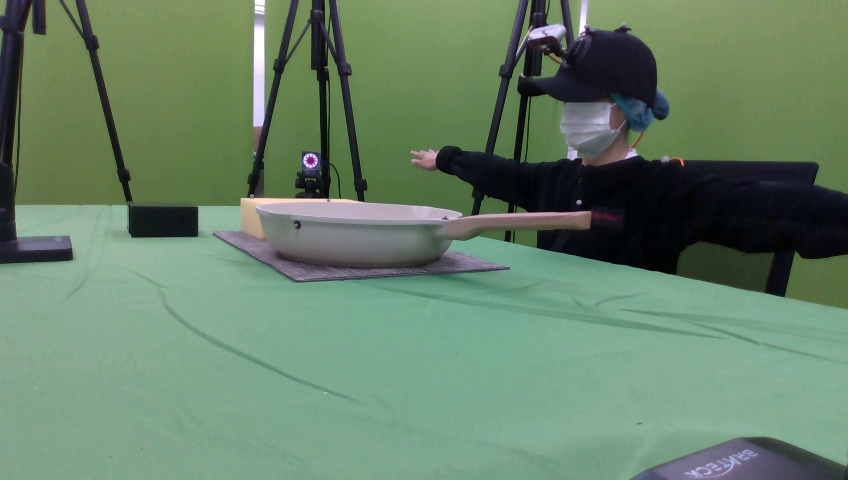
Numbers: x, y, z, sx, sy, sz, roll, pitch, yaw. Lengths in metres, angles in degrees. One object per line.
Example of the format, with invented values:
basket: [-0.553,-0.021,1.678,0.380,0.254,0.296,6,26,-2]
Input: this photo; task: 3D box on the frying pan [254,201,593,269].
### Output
frying pan: [-0.011,-0.017,0.802,0.485,0.102,0.308,-2,4,39]

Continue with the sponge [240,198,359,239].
sponge: [-0.211,-0.040,1.079,0.208,0.061,0.117,-2,9,-33]
